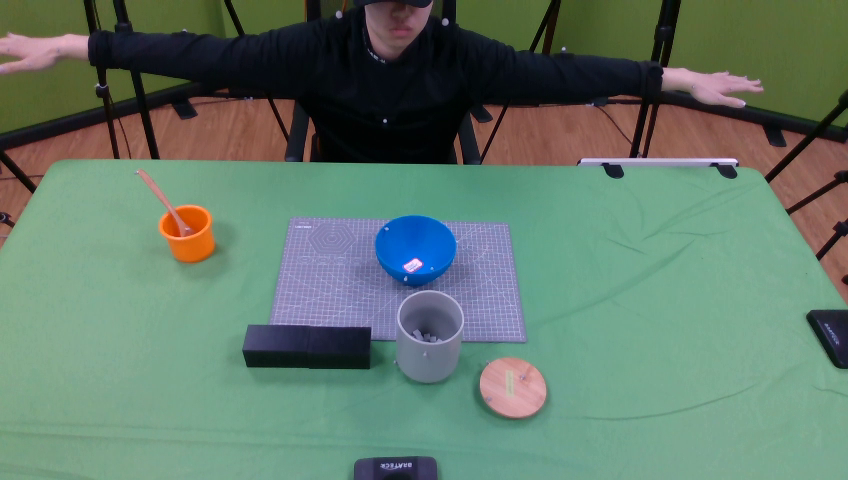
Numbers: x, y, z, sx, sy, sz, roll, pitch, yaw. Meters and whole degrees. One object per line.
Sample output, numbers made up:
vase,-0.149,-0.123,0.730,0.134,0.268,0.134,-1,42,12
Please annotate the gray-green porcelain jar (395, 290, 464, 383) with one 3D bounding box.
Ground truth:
gray-green porcelain jar,0.006,0.160,0.972,0.106,0.127,0.105,2,46,-2

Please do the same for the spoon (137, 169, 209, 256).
spoon,-0.466,-0.051,1.123,0.041,0.194,0.021,-41,17,-34

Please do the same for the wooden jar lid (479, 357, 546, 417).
wooden jar lid,0.142,0.240,0.979,0.108,0.021,0.107,1,46,-1

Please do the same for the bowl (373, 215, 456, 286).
bowl,-0.019,0.032,1.123,0.151,0.077,0.150,2,46,-2
